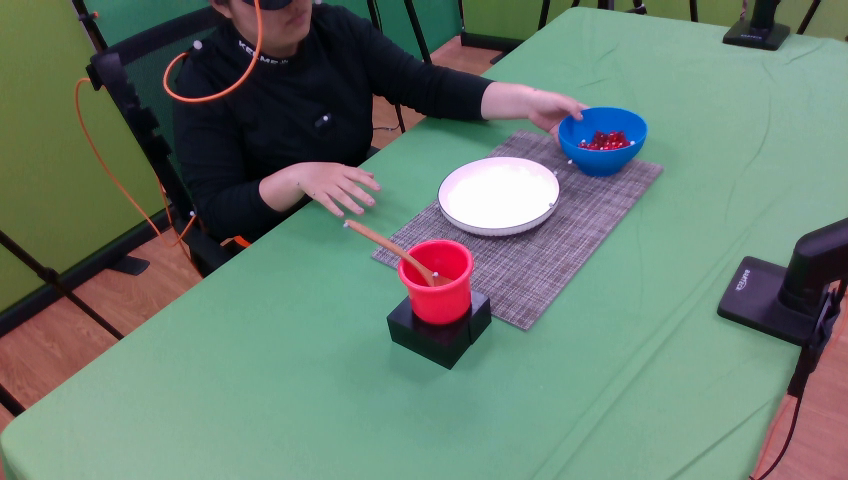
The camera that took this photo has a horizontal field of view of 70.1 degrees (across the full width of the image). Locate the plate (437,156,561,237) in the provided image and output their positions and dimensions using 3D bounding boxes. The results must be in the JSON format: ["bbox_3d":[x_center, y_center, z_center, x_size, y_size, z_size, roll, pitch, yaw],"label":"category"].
[{"bbox_3d":[0.127,-0.070,1.023,0.207,0.039,0.206,-5,40,5],"label":"plate"}]

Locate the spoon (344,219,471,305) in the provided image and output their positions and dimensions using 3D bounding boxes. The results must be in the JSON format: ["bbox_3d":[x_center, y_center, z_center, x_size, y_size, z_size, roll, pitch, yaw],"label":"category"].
[{"bbox_3d":[-0.020,0.026,0.781,0.194,0.021,0.041,37,43,-14],"label":"spoon"}]

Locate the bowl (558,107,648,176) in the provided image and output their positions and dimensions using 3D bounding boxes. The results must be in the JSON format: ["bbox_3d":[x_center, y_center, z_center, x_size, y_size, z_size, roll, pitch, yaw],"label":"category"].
[{"bbox_3d":[0.313,-0.165,1.069,0.151,0.077,0.150,-5,40,5],"label":"bowl"}]
